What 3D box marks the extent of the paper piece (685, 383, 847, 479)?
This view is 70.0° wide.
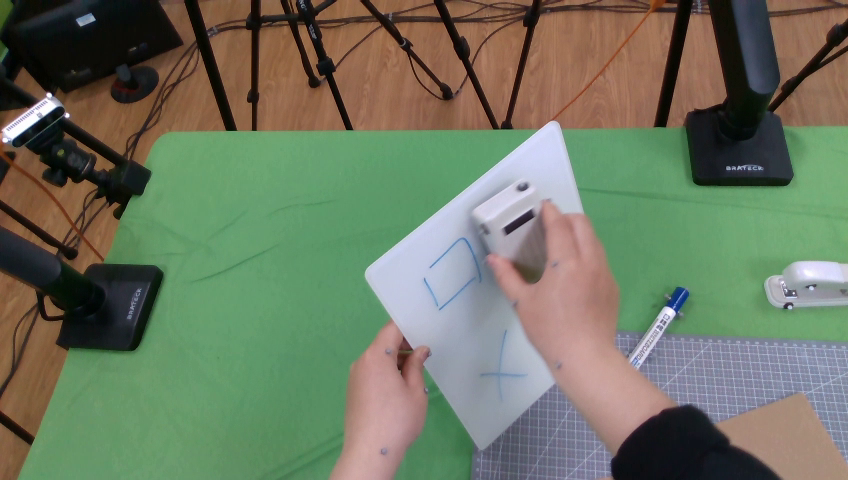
[{"bbox_3d":[0.360,0.232,0.615,0.136,0.009,0.137,-20,62,2],"label":"paper piece"}]

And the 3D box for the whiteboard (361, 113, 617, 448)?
[{"bbox_3d":[0.054,0.032,0.642,0.217,0.309,0.142,-38,41,-12],"label":"whiteboard"}]

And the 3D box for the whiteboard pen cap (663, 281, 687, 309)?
[{"bbox_3d":[0.295,0.066,0.713,0.018,0.018,0.033,31,69,23],"label":"whiteboard pen cap"}]

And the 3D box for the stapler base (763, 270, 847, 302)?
[{"bbox_3d":[0.465,0.047,0.697,0.130,0.024,0.041,-3,63,5],"label":"stapler base"}]

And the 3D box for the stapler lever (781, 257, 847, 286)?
[{"bbox_3d":[0.463,0.035,0.677,0.118,0.040,0.026,-4,63,7],"label":"stapler lever"}]

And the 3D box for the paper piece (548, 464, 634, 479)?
[{"bbox_3d":[0.162,0.305,0.604,0.135,0.004,0.134,-11,60,2],"label":"paper piece"}]

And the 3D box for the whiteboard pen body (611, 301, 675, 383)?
[{"bbox_3d":[0.258,0.107,0.696,0.017,0.017,0.140,34,70,24],"label":"whiteboard pen body"}]

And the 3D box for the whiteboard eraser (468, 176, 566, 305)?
[{"bbox_3d":[0.081,0.002,0.529,0.055,0.114,0.041,-32,36,-4],"label":"whiteboard eraser"}]
